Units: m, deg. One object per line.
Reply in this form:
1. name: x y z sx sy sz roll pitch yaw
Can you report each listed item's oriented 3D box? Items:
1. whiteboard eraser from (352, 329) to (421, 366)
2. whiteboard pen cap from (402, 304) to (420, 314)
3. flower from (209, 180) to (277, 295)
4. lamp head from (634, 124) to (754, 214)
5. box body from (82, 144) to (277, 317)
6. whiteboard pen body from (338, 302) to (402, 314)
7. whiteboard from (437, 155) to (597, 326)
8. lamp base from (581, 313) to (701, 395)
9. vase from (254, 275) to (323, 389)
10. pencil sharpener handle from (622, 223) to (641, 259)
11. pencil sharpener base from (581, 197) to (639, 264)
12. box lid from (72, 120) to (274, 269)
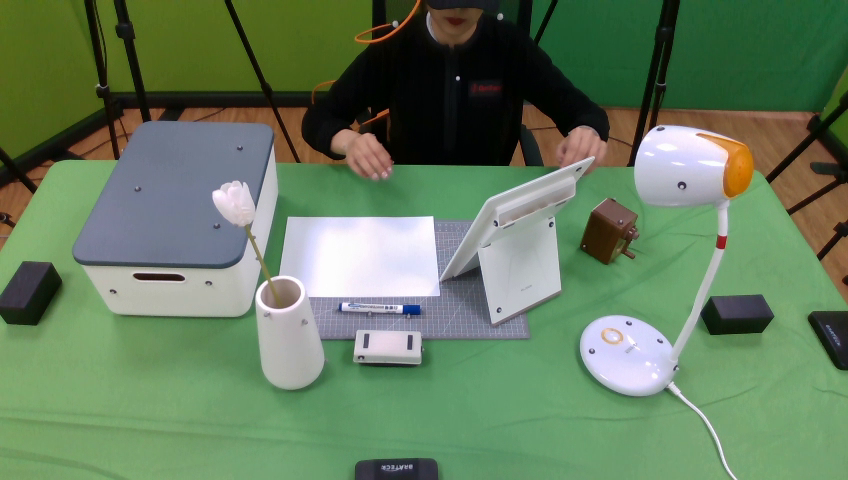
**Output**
1. whiteboard eraser: -0.061 0.179 1.005 0.113 0.042 0.055 3 48 -3
2. whiteboard pen cap: -0.024 0.123 1.076 0.033 0.018 0.018 1 46 1
3. flower: -0.217 0.075 0.871 0.044 0.363 0.038 -29 36 -19
4. lamp head: 0.351 -0.089 0.775 0.112 0.113 0.122 -30 30 -28
5. box body: -0.422 -0.041 1.108 0.254 0.161 0.361 2 46 -3
6. whiteboard pen body: -0.083 0.121 1.074 0.141 0.017 0.017 3 46 -2
7. whiteboard: 0.180 0.023 1.029 0.217 0.306 0.143 -22 71 -23
8. lamp base: 0.361 0.144 0.972 0.178 0.181 0.160 34 53 23
9. vase: -0.209 0.143 0.921 0.098 0.201 0.097 1 46 -1
10. pencil sharpener handle: 0.397 0.003 1.146 0.030 0.068 0.036 37 45 27
11. pencil sharpener base: 0.362 -0.017 1.179 0.076 0.107 0.061 37 54 27
12. box lid: -0.417 -0.094 1.056 0.263 0.015 0.369 1 47 -3
